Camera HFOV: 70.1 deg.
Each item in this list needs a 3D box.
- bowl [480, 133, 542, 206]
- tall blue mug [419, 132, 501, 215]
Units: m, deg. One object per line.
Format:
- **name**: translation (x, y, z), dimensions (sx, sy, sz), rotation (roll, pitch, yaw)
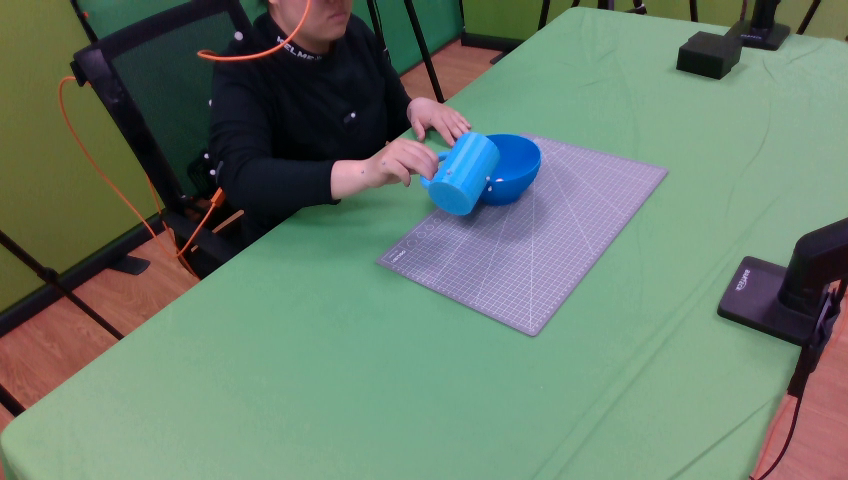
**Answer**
- **bowl**: translation (0.129, -0.112, 1.045), dimensions (0.151, 0.077, 0.150), rotation (-5, 40, 5)
- **tall blue mug**: translation (0.050, -0.110, 0.941), dimensions (0.107, 0.078, 0.108), rotation (27, 63, 9)
